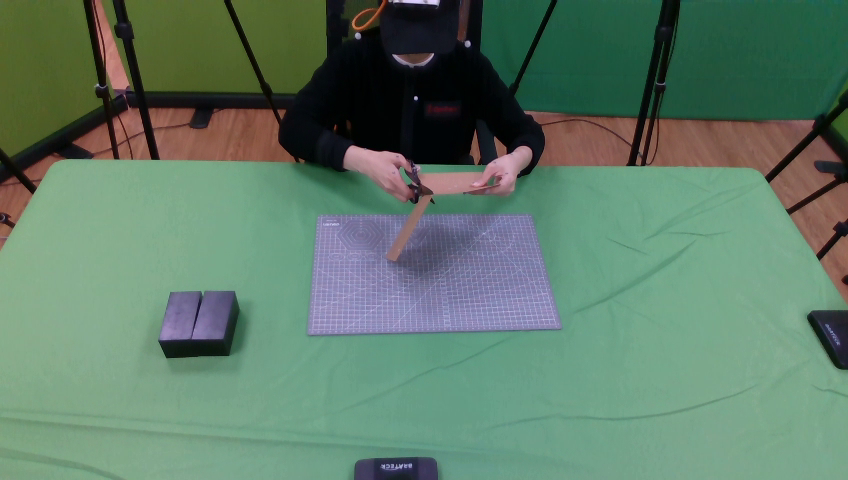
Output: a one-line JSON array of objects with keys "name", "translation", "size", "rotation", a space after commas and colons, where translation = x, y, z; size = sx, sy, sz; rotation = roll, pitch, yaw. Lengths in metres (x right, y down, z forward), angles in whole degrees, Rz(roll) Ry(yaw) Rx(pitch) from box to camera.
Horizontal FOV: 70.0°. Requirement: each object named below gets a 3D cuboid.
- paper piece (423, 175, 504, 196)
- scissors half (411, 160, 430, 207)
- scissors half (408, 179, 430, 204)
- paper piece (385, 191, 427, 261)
[{"name": "paper piece", "translation": [0.064, -0.101, 1.127], "size": [0.136, 0.004, 0.135], "rotation": [-8, 16, -12]}, {"name": "scissors half", "translation": [-0.004, -0.104, 1.125], "size": [0.013, 0.040, 0.174], "rotation": [6, 33, -15]}, {"name": "scissors half", "translation": [-0.008, -0.085, 1.133], "size": [0.013, 0.040, 0.174], "rotation": [1, 13, -13]}, {"name": "paper piece", "translation": [-0.033, -0.024, 1.109], "size": [0.008, 0.136, 0.138], "rotation": [28, 87, -5]}]
